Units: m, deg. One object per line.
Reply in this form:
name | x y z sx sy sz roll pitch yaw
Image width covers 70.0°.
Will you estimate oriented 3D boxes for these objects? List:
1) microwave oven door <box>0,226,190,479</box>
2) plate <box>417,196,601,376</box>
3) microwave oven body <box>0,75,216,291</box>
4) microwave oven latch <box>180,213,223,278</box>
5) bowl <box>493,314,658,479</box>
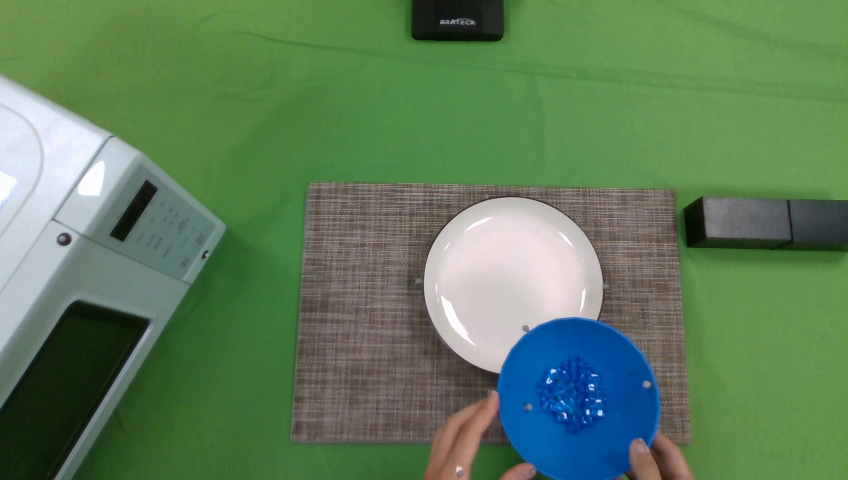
microwave oven door | -0.360 0.167 0.542 0.039 0.245 0.355 27 78 5
plate | 0.095 0.053 0.699 0.208 0.039 0.206 0 78 -2
microwave oven body | -0.471 0.066 0.566 0.325 0.261 0.440 27 79 4
microwave oven latch | -0.259 0.002 0.685 0.030 0.029 0.079 29 79 4
bowl | 0.139 0.152 0.593 0.151 0.077 0.150 0 74 0
